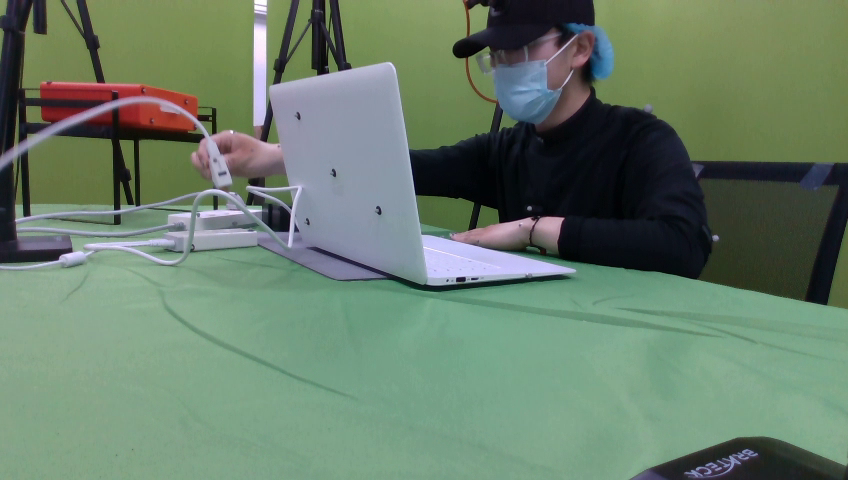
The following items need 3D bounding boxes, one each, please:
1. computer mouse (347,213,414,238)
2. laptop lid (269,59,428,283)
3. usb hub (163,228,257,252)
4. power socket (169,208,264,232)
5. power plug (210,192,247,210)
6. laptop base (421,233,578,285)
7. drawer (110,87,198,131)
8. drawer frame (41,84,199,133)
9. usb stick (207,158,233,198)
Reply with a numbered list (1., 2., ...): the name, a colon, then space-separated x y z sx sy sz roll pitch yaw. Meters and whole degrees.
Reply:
1. computer mouse: -0.079 -0.025 1.080 0.117 0.041 0.062 -5 12 -18
2. laptop lid: -0.110 -0.087 0.752 0.013 0.241 0.355 -18 19 -30
3. usb hub: -0.314 -0.001 0.895 0.049 0.025 0.126 10 11 41
4. power socket: -0.381 -0.038 1.128 0.072 0.032 0.227 4 8 17
5. power plug: -0.386 -0.071 1.203 0.072 0.052 0.035 8 11 25
6. laptop base: 0.007 0.022 0.850 0.237 0.023 0.352 1 7 -34
7. drawer: -0.602 -0.263 1.225 0.211 0.073 0.195 3 8 10
8. drawer frame: -0.604 -0.264 1.225 0.213 0.082 0.202 3 8 8
9. usb stick: -0.307 -0.093 0.914 0.021 0.059 0.027 -21 15 -34
